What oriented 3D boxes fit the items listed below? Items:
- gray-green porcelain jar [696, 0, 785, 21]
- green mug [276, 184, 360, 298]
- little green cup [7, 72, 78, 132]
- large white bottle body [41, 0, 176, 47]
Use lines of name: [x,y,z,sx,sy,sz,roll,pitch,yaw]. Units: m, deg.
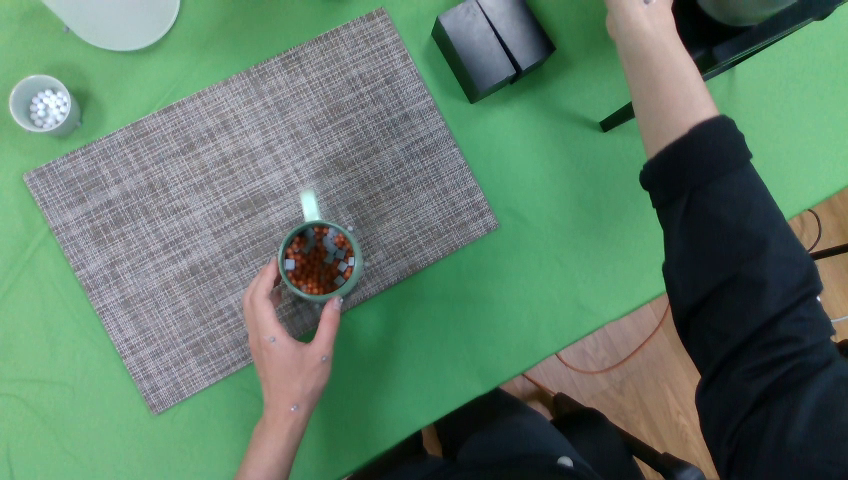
gray-green porcelain jar: [0.308,-0.267,0.544,0.106,0.126,0.105,1,86,-7]
green mug: [-0.118,0.001,0.657,0.092,0.105,0.125,-12,88,-8]
little green cup: [-0.412,-0.147,0.659,0.062,0.038,0.061,0,88,-8]
large white bottle body: [-0.337,-0.286,0.603,0.131,0.184,0.130,0,87,-7]
